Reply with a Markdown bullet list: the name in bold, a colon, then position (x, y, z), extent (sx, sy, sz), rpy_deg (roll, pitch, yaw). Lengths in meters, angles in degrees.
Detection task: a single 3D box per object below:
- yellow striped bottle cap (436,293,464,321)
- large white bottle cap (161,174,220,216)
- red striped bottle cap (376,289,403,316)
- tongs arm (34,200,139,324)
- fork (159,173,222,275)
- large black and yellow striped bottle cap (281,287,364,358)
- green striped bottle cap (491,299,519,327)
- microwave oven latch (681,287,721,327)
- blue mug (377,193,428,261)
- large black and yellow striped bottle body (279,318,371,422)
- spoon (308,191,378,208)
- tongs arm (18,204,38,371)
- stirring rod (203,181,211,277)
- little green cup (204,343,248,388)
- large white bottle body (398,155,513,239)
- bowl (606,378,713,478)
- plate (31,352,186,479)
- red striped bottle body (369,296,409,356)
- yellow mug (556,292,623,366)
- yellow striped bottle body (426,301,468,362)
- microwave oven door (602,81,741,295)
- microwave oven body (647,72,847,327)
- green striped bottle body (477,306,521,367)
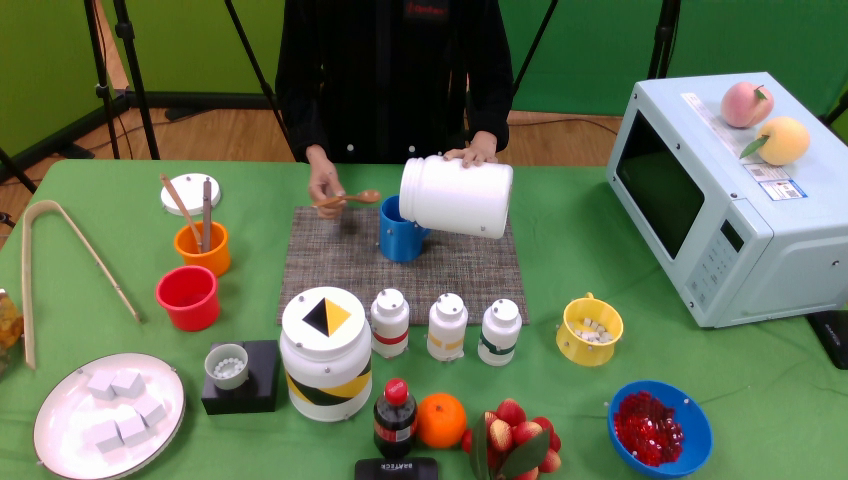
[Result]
- **yellow striped bottle cap**: position (0.041, 0.106, 0.959), extent (0.044, 0.019, 0.044), rpy_deg (-1, 50, 1)
- **large white bottle cap**: position (-0.483, -0.095, 1.253), extent (0.115, 0.018, 0.114), rpy_deg (2, 46, -2)
- **red striped bottle cap**: position (-0.054, 0.098, 0.958), extent (0.044, 0.018, 0.044), rpy_deg (0, 48, 1)
- **tongs arm**: position (-0.622, 0.034, 1.105), extent (0.051, 0.026, 0.382), rpy_deg (-32, 56, -25)
- **fork**: position (-0.427, -0.029, 1.103), extent (0.028, 0.018, 0.207), rpy_deg (-31, 99, -31)
- **large black and yellow striped bottle cap**: position (-0.141, 0.112, 0.847), extent (0.115, 0.019, 0.114), rpy_deg (5, 45, -4)
- **green striped bottle cap**: position (0.128, 0.115, 0.958), extent (0.044, 0.020, 0.044), rpy_deg (1, 47, -1)
- **microwave oven latch**: position (0.494, 0.119, 1.087), extent (0.030, 0.029, 0.078), rpy_deg (-6, 46, -9)
- **blue mug**: position (-0.033, -0.030, 1.160), extent (0.116, 0.106, 0.082), rpy_deg (-22, 51, -22)
- **large black and yellow striped bottle body**: position (-0.145, 0.173, 0.907), extent (0.131, 0.185, 0.130), rpy_deg (2, 46, -2)
- **spoon**: position (-0.150, -0.075, 1.132), extent (0.041, 0.022, 0.194), rpy_deg (35, 22, 23)
- **tongs arm**: position (-0.698, 0.070, 1.069), extent (0.028, 0.028, 0.385), rpy_deg (-21, 51, -13)
- **stirring rod**: position (-0.396, -0.021, 1.107), extent (0.014, 0.006, 0.176), rpy_deg (-1, 89, -1)
- **little green cup**: position (-0.294, 0.190, 0.909), extent (0.061, 0.039, 0.061), rpy_deg (1, 48, 0)
- **large white bottle body**: position (0.056, -0.079, 1.061), extent (0.184, 0.131, 0.130), rpy_deg (9, 46, 9)
- **bowl**: position (0.340, 0.292, 0.906), extent (0.151, 0.077, 0.150), rpy_deg (2, 46, -2)
- **plate**: position (-0.459, 0.262, 0.898), extent (0.209, 0.038, 0.208), rpy_deg (2, 46, -2)
- **red striped bottle body**: position (-0.059, 0.135, 0.997), extent (0.063, 0.120, 0.062), rpy_deg (5, 49, -6)
- **yellow mug**: position (0.285, 0.145, 1.051), extent (0.100, 0.064, 0.130), rpy_deg (7, 45, 3)
- **yellow striped bottle body**: position (0.037, 0.142, 0.996), extent (0.063, 0.121, 0.062), rpy_deg (3, 46, -3)
- **microwave oven door**: position (0.456, -0.107, 1.162), extent (0.039, 0.245, 0.353), rpy_deg (-6, 47, -11)
- **microwave oven body**: position (0.607, -0.089, 1.164), extent (0.326, 0.261, 0.438), rpy_deg (-7, 46, -10)
- **green striped bottle body**: position (0.124, 0.151, 0.995), extent (0.063, 0.120, 0.063), rpy_deg (2, 46, -2)
